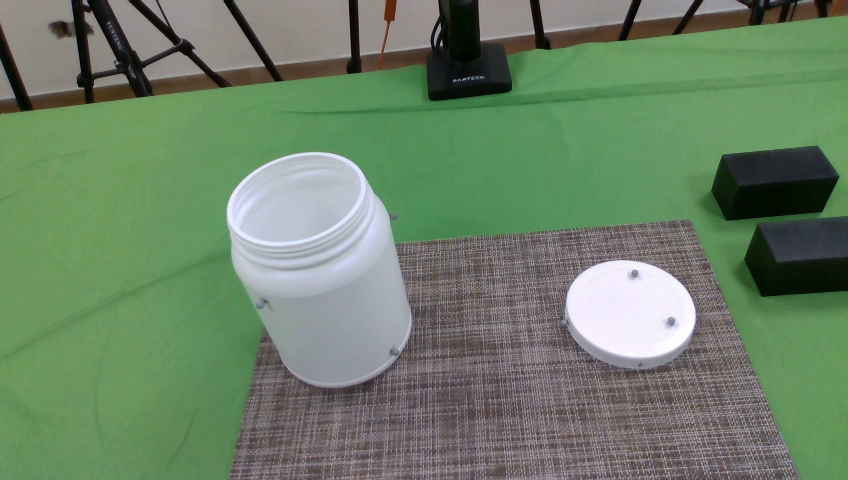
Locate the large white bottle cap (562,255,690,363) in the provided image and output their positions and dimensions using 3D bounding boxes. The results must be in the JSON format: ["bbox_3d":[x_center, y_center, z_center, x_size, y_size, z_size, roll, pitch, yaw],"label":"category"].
[{"bbox_3d":[0.187,0.062,0.567,0.115,0.018,0.113,-4,47,5],"label":"large white bottle cap"}]

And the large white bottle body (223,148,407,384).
[{"bbox_3d":[-0.090,0.025,0.528,0.130,0.186,0.129,-5,46,5],"label":"large white bottle body"}]
